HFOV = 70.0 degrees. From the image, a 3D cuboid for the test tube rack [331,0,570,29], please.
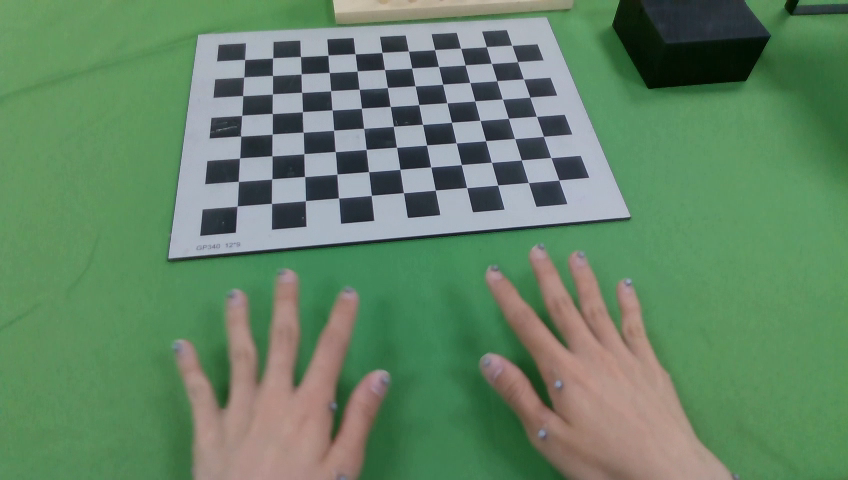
[{"bbox_3d":[0.027,-0.273,0.599,0.243,0.086,0.066,-7,54,-7],"label":"test tube rack"}]
